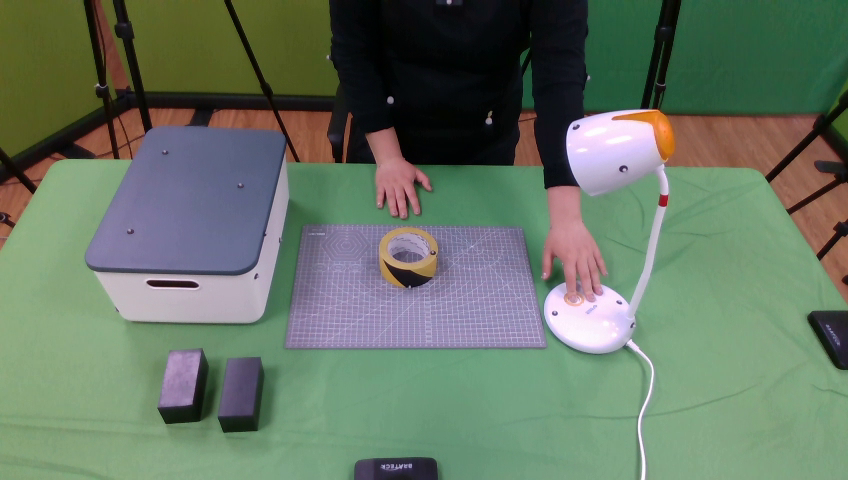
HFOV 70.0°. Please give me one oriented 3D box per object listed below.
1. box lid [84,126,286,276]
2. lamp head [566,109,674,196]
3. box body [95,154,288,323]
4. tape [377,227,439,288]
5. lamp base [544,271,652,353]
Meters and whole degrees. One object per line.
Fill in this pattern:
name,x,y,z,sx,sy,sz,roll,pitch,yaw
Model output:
box lid,-0.393,-0.081,1.046,0.263,0.015,0.369,2,46,-3
lamp head,0.271,-0.123,0.819,0.122,0.113,0.112,-9,35,37
box body,-0.396,-0.031,1.100,0.254,0.161,0.361,1,46,-3
tape,-0.031,0.032,1.141,0.117,0.053,0.116,2,46,-2
lamp base,0.309,0.086,1.029,0.178,0.181,0.160,32,52,22
